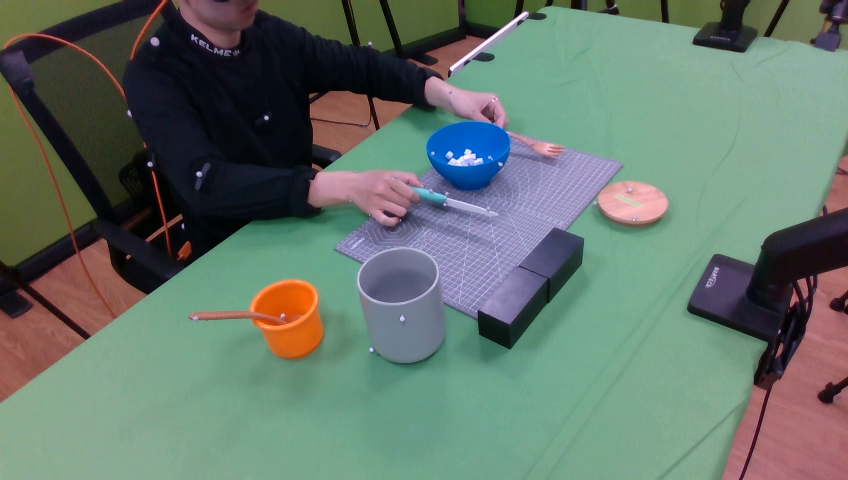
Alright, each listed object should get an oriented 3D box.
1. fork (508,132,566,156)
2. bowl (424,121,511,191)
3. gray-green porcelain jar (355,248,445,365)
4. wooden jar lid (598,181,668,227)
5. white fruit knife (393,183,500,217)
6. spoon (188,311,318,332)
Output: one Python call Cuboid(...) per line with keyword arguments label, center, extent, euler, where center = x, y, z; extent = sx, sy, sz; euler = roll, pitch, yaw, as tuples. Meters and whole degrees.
Cuboid(label="fork", center=(0.170, -0.193, 1.144), extent=(0.206, 0.019, 0.028), euler=(23, 67, 24))
Cuboid(label="bowl", center=(0.081, -0.140, 1.074), extent=(0.151, 0.077, 0.150), euler=(-4, 40, 4))
Cuboid(label="gray-green porcelain jar", center=(-0.027, 0.091, 0.786), extent=(0.106, 0.127, 0.105), euler=(-4, 40, 4))
Cuboid(label="wooden jar lid", center=(0.340, -0.058, 0.988), extent=(0.108, 0.021, 0.108), euler=(-5, 41, 5))
Cuboid(label="white fruit knife", center=(0.033, -0.065, 0.995), extent=(0.206, 0.027, 0.016), euler=(16, 65, 28))
Cuboid(label="spoon", center=(-0.216, 0.102, 0.784), extent=(0.041, 0.195, 0.021), euler=(26, 95, 39))
